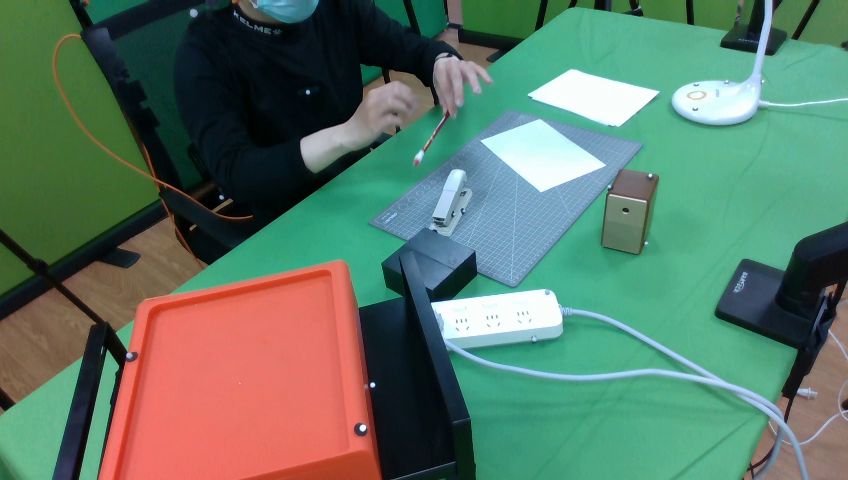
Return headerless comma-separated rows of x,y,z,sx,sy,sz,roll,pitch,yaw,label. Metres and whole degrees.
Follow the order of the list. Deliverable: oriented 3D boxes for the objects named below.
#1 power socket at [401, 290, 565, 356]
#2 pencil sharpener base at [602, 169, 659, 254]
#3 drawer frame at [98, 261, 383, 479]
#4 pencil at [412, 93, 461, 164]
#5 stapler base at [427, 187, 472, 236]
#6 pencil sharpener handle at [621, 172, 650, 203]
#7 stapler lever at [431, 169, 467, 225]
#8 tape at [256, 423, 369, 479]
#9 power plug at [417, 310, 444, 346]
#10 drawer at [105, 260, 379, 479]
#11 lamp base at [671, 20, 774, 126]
0.080,0.112,0.822,0.227,0.033,0.072,-6,41,0,power socket
0.312,-0.044,0.913,0.061,0.107,0.077,14,45,24,pencil sharpener base
-0.149,0.129,0.520,0.202,0.083,0.212,-12,41,-6,drawer frame
0.026,-0.200,1.065,0.012,0.012,0.194,15,56,24,pencil
0.045,-0.057,1.028,0.041,0.024,0.130,9,44,20,stapler base
0.328,-0.087,0.940,0.036,0.068,0.030,30,49,7,pencil sharpener handle
0.043,-0.074,1.010,0.026,0.040,0.118,9,44,21,stapler lever
-0.121,0.263,0.660,0.117,0.053,0.116,-4,40,4,tape
0.006,0.122,0.785,0.035,0.053,0.072,-1,40,8,power plug
-0.150,0.127,0.525,0.195,0.073,0.210,-11,41,-5,drawer
0.581,-0.332,1.154,0.179,0.181,0.160,2,41,7,lamp base
